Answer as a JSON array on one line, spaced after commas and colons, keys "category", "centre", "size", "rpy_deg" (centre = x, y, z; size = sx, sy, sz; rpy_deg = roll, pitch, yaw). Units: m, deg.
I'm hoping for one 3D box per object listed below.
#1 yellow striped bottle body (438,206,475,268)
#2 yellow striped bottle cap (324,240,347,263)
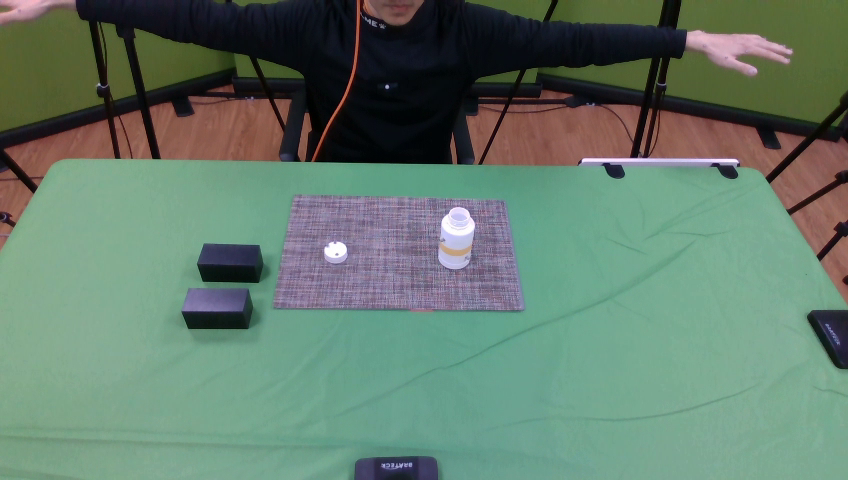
[{"category": "yellow striped bottle body", "centre": [0.061, -0.008, 1.134], "size": [0.063, 0.121, 0.062], "rpy_deg": [2, 47, -2]}, {"category": "yellow striped bottle cap", "centre": [-0.170, 0.022, 1.161], "size": [0.044, 0.019, 0.044], "rpy_deg": [1, 48, -1]}]
